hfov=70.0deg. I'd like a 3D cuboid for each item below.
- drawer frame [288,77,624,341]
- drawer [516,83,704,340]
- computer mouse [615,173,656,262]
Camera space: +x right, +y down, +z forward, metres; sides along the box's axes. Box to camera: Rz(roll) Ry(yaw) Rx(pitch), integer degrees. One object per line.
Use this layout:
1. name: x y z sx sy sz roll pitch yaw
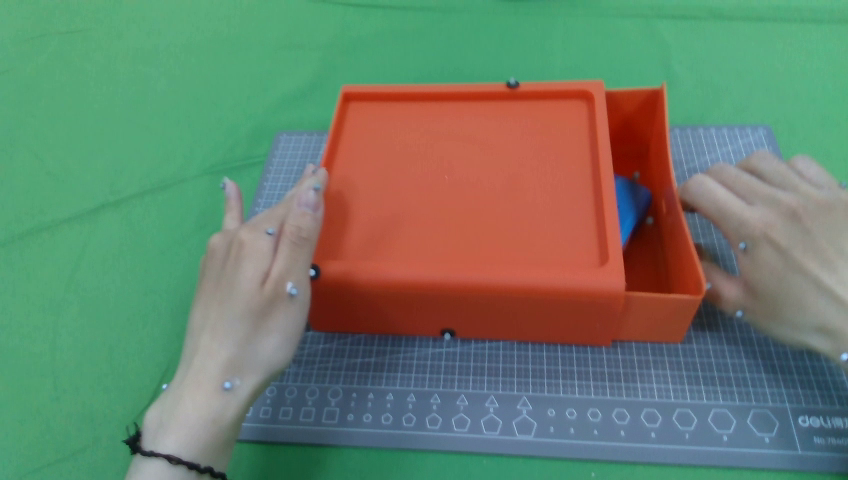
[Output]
1. drawer frame: 0.031 -0.029 0.455 0.213 0.083 0.200 1 53 8
2. drawer: 0.077 -0.028 0.451 0.211 0.074 0.192 0 53 9
3. computer mouse: 0.125 -0.019 0.443 0.062 0.041 0.117 11 41 32
